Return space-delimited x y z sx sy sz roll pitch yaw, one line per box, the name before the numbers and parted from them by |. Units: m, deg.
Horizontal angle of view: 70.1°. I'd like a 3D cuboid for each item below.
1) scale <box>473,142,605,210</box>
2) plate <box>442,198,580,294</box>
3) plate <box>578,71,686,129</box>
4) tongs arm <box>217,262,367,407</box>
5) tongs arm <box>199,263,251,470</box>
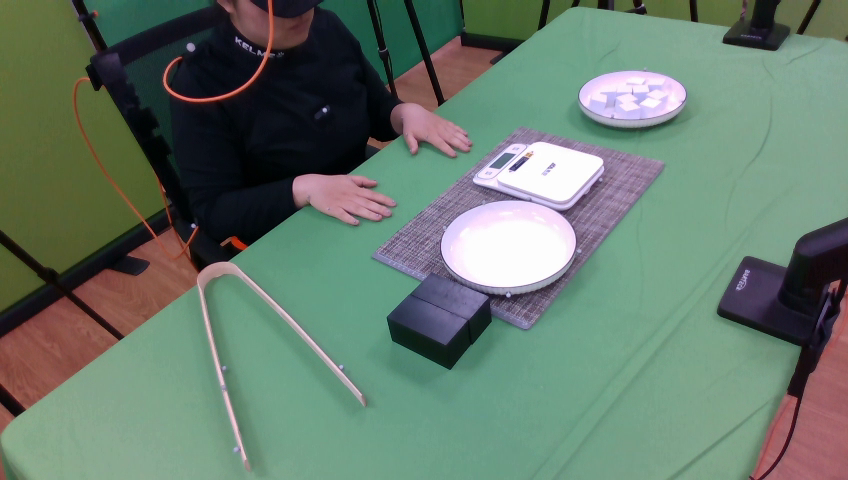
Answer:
scale | 0.202 -0.121 1.074 0.199 0.032 0.149 23 49 33
plate | 0.132 0.012 0.926 0.207 0.039 0.206 -5 40 5
plate | 0.416 -0.280 1.222 0.209 0.038 0.208 -5 41 5
tongs arm | -0.200 0.122 0.871 0.028 0.028 0.384 -36 46 -24
tongs arm | -0.270 0.154 0.841 0.051 0.026 0.381 -23 41 -17
